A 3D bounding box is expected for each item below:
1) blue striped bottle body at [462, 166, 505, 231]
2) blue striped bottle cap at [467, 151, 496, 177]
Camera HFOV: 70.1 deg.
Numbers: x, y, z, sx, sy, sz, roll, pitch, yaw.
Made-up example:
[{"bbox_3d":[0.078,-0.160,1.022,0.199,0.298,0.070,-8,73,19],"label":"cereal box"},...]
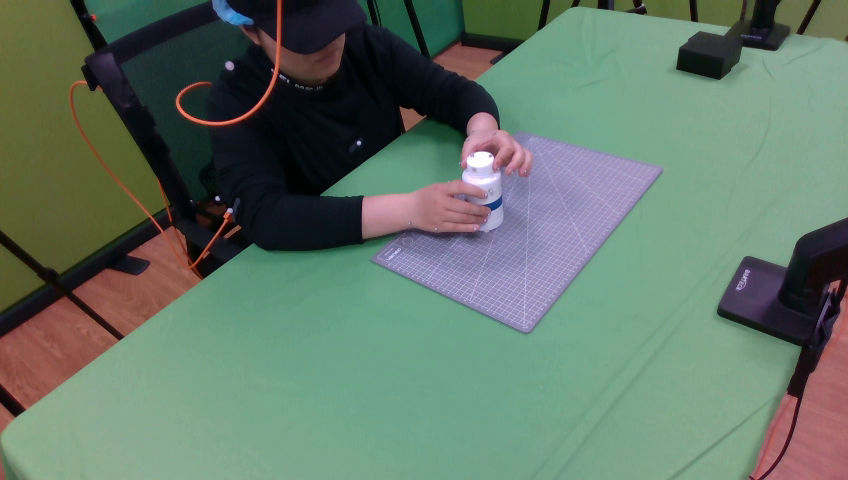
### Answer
[{"bbox_3d":[0.096,-0.078,0.976,0.063,0.121,0.063,-7,40,7],"label":"blue striped bottle body"},{"bbox_3d":[0.089,-0.119,0.942,0.044,0.021,0.044,-7,39,6],"label":"blue striped bottle cap"}]
